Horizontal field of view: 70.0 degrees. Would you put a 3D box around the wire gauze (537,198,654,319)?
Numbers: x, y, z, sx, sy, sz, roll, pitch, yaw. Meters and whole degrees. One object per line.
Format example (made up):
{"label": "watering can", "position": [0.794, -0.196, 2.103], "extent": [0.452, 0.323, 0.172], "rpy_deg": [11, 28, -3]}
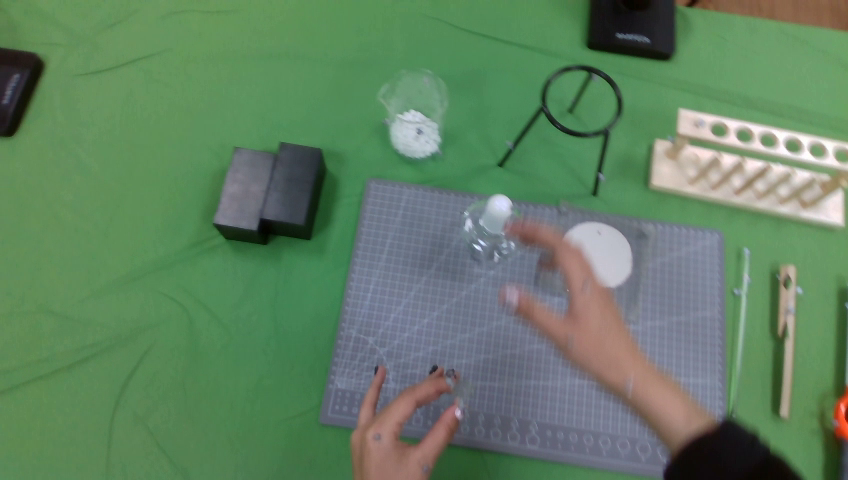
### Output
{"label": "wire gauze", "position": [0.209, 0.019, 0.737], "extent": [0.125, 0.011, 0.121], "rpy_deg": [20, 73, 3]}

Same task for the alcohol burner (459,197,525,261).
{"label": "alcohol burner", "position": [0.079, -0.019, 0.688], "extent": [0.078, 0.120, 0.077], "rpy_deg": [0, 71, 0]}

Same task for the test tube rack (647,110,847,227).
{"label": "test tube rack", "position": [0.412, -0.086, 0.743], "extent": [0.242, 0.085, 0.066], "rpy_deg": [12, 71, 2]}

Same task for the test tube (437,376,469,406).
{"label": "test tube", "position": [0.024, 0.139, 0.549], "extent": [0.017, 0.151, 0.017], "rpy_deg": [1, 71, -3]}

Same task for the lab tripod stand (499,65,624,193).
{"label": "lab tripod stand", "position": [0.169, -0.131, 0.723], "extent": [0.148, 0.132, 0.147], "rpy_deg": [1, 73, -1]}

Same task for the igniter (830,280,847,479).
{"label": "igniter", "position": [0.490, 0.175, 0.688], "extent": [0.057, 0.025, 0.275], "rpy_deg": [19, 71, -7]}

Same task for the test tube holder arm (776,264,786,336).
{"label": "test tube holder arm", "position": [0.429, 0.072, 0.727], "extent": [0.010, 0.015, 0.087], "rpy_deg": [-2, 67, 37]}

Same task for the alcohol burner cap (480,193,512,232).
{"label": "alcohol burner cap", "position": [0.080, -0.033, 0.655], "extent": [0.034, 0.048, 0.033], "rpy_deg": [2, 65, -3]}

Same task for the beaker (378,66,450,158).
{"label": "beaker", "position": [-0.012, -0.151, 0.740], "extent": [0.084, 0.101, 0.073], "rpy_deg": [1, 70, -1]}

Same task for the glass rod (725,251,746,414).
{"label": "glass rod", "position": [0.369, 0.106, 0.716], "extent": [0.008, 0.008, 0.198], "rpy_deg": [14, 74, 2]}

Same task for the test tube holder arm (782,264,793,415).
{"label": "test tube holder arm", "position": [0.426, 0.113, 0.709], "extent": [0.013, 0.015, 0.177], "rpy_deg": [-4, 66, 36]}
